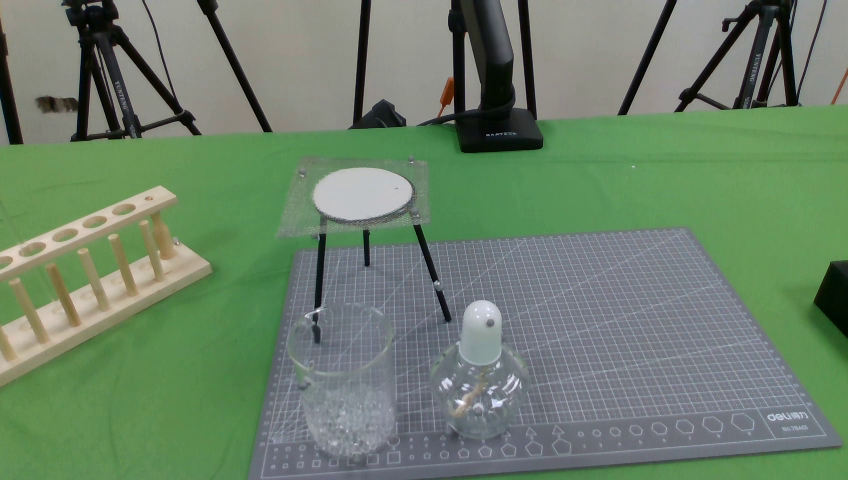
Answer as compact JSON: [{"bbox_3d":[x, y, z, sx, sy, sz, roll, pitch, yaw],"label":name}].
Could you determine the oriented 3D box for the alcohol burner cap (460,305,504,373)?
[{"bbox_3d":[0.043,0.068,0.437,0.034,0.048,0.033,1,37,0],"label":"alcohol burner cap"}]

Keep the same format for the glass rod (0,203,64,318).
[{"bbox_3d":[-0.369,-0.008,0.541,0.008,0.201,0.008,-6,32,4],"label":"glass rod"}]

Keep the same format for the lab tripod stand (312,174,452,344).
[{"bbox_3d":[-0.045,0.017,0.561,0.148,0.132,0.147,0,34,0],"label":"lab tripod stand"}]

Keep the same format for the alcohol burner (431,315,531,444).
[{"bbox_3d":[0.043,0.098,0.457,0.078,0.120,0.077,-1,37,1],"label":"alcohol burner"}]

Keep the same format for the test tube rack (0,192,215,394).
[{"bbox_3d":[-0.332,0.047,0.577,0.066,0.086,0.242,27,44,35],"label":"test tube rack"}]

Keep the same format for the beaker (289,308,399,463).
[{"bbox_3d":[-0.058,0.111,0.456,0.083,0.101,0.074,25,43,34],"label":"beaker"}]

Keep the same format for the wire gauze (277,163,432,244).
[{"bbox_3d":[-0.055,-0.036,0.519,0.121,0.011,0.124,-1,36,-1],"label":"wire gauze"}]
